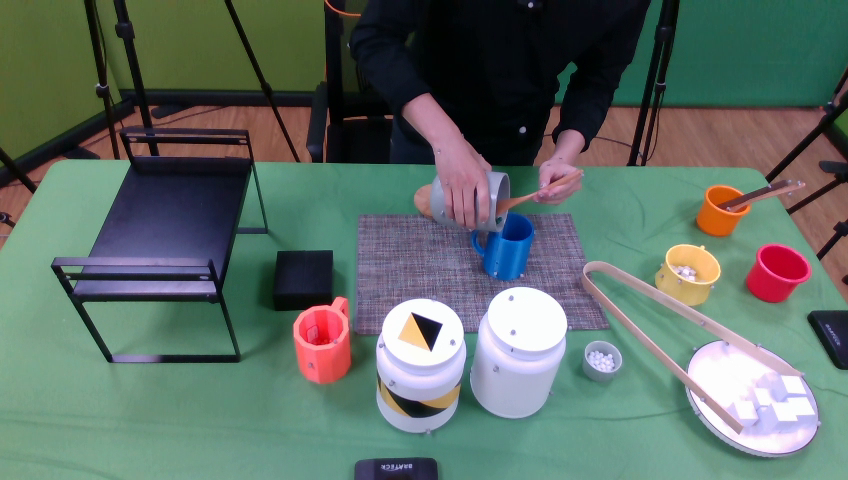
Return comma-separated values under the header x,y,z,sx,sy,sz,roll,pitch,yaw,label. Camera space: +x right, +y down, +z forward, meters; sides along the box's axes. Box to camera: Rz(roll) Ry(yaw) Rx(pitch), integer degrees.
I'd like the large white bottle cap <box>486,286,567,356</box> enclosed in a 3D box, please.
x,y,z,sx,sy,sz,roll,pitch,yaw,label
0.147,0.114,0.869,0.115,0.018,0.114,3,46,-3,large white bottle cap

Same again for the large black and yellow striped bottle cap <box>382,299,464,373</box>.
x,y,z,sx,sy,sz,roll,pitch,yaw,label
-0.002,0.132,0.843,0.115,0.019,0.114,2,46,-2,large black and yellow striped bottle cap

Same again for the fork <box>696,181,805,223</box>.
x,y,z,sx,sy,sz,roll,pitch,yaw,label
0.659,-0.077,1.232,0.207,0.019,0.028,-26,35,34,fork

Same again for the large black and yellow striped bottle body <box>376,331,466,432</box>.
x,y,z,sx,sy,sz,roll,pitch,yaw,label
-0.007,0.189,0.905,0.131,0.185,0.130,2,46,-2,large black and yellow striped bottle body

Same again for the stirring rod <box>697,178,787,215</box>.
x,y,z,sx,sy,sz,roll,pitch,yaw,label
0.650,-0.088,1.245,0.006,0.176,0.014,29,49,-39,stirring rod

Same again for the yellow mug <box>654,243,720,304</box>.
x,y,z,sx,sy,sz,roll,pitch,yaw,label
0.504,0.054,1.154,0.099,0.064,0.130,28,50,22,yellow mug

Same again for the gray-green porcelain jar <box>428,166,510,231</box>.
x,y,z,sx,sy,sz,roll,pitch,yaw,label
0.078,-0.075,1.077,0.126,0.106,0.105,8,45,20,gray-green porcelain jar

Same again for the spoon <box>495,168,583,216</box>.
x,y,z,sx,sy,sz,roll,pitch,yaw,label
0.189,-0.082,1.065,0.193,0.022,0.041,-22,38,18,spoon

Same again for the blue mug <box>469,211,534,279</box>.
x,y,z,sx,sy,sz,roll,pitch,yaw,label
0.141,0.005,1.140,0.116,0.106,0.082,18,48,13,blue mug

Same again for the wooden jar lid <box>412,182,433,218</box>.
x,y,z,sx,sy,sz,roll,pitch,yaw,label
0.029,-0.083,1.276,0.108,0.021,0.107,3,43,-3,wooden jar lid

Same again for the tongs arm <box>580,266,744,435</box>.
x,y,z,sx,sy,sz,roll,pitch,yaw,label
0.384,0.173,1.028,0.028,0.028,0.385,-25,46,-15,tongs arm

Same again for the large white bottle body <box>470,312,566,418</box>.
x,y,z,sx,sy,sz,roll,pitch,yaw,label
0.143,0.173,0.930,0.131,0.185,0.130,2,46,-2,large white bottle body

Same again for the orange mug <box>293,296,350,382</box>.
x,y,z,sx,sy,sz,roll,pitch,yaw,label
-0.158,0.154,0.985,0.083,0.101,0.125,17,52,11,orange mug

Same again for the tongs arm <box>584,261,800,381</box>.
x,y,z,sx,sy,sz,roll,pitch,yaw,label
0.452,0.137,1.064,0.051,0.027,0.382,-34,50,-27,tongs arm

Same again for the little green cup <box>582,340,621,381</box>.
x,y,z,sx,sy,sz,roll,pitch,yaw,label
0.295,0.204,1.014,0.061,0.039,0.061,2,45,-2,little green cup

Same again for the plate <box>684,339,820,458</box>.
x,y,z,sx,sy,sz,roll,pitch,yaw,label
0.523,0.256,0.982,0.208,0.039,0.206,2,46,-2,plate
